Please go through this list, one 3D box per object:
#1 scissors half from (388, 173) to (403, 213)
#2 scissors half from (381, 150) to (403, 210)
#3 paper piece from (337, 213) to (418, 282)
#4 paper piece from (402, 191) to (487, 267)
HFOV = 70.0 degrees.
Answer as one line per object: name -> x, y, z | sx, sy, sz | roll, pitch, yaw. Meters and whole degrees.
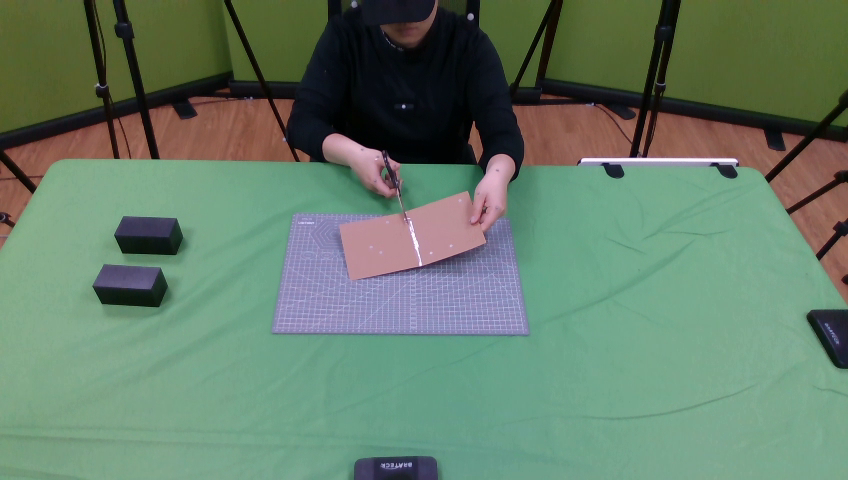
scissors half -> -0.056, -0.096, 1.251 | 0.013, 0.040, 0.174 | -17, 49, -2
scissors half -> -0.059, -0.107, 1.232 | 0.013, 0.040, 0.174 | -19, 75, 2
paper piece -> -0.091, 0.010, 1.166 | 0.135, 0.004, 0.135 | -12, 55, -6
paper piece -> 0.037, -0.024, 1.171 | 0.138, 0.009, 0.135 | -17, 61, 2
